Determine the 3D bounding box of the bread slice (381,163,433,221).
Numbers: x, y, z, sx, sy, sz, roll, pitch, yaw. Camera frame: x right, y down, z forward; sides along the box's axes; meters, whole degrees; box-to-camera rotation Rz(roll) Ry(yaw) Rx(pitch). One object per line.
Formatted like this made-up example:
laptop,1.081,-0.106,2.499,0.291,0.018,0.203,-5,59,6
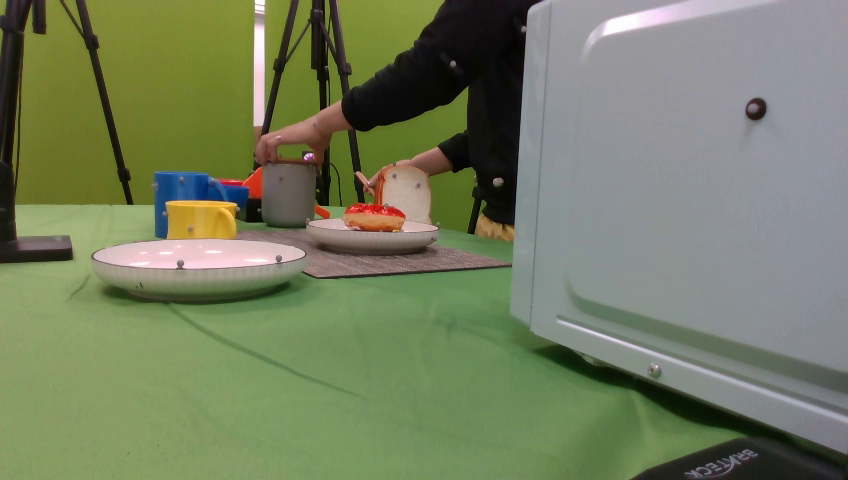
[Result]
bread slice,-0.035,-0.076,1.125,0.107,0.134,0.018,-4,1,-26

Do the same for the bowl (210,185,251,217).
bowl,-0.408,-0.064,1.155,0.151,0.077,0.151,2,8,0

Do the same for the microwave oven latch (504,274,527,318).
microwave oven latch,0.100,0.041,0.471,0.079,0.029,0.030,-1,8,-28

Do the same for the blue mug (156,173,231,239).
blue mug,-0.381,-0.057,1.004,0.117,0.106,0.082,0,8,-12

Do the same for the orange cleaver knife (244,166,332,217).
orange cleaver knife,-0.301,-0.089,1.351,0.212,0.077,0.012,32,-11,-34

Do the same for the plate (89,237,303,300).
plate,-0.233,0.029,0.637,0.208,0.039,0.207,2,7,0

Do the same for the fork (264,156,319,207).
fork,-0.331,-0.144,1.505,0.207,0.018,0.028,-42,-20,22

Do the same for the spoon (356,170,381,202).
spoon,-0.112,-0.108,1.410,0.042,0.022,0.193,-31,57,-9

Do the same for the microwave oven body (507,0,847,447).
microwave oven body,0.331,-0.042,0.425,0.444,0.260,0.324,-2,8,-31

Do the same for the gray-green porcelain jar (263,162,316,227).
gray-green porcelain jar,-0.271,-0.092,1.217,0.106,0.126,0.106,2,7,0

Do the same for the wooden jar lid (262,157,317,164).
wooden jar lid,-0.269,-0.155,1.209,0.108,0.020,0.108,2,5,0

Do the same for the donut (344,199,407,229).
donut,-0.076,-0.039,0.949,0.099,0.048,0.099,3,4,0

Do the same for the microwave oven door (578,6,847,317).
microwave oven door,0.294,-0.067,0.570,0.358,0.243,0.039,-3,9,-31

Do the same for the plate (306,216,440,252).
plate,-0.079,-0.011,0.950,0.209,0.038,0.209,2,8,0

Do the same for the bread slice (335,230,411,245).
bread slice,-0.074,-0.005,0.938,0.105,0.019,0.131,-1,4,-19

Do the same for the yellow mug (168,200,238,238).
yellow mug,-0.320,-0.023,0.904,0.130,0.064,0.100,9,11,36
